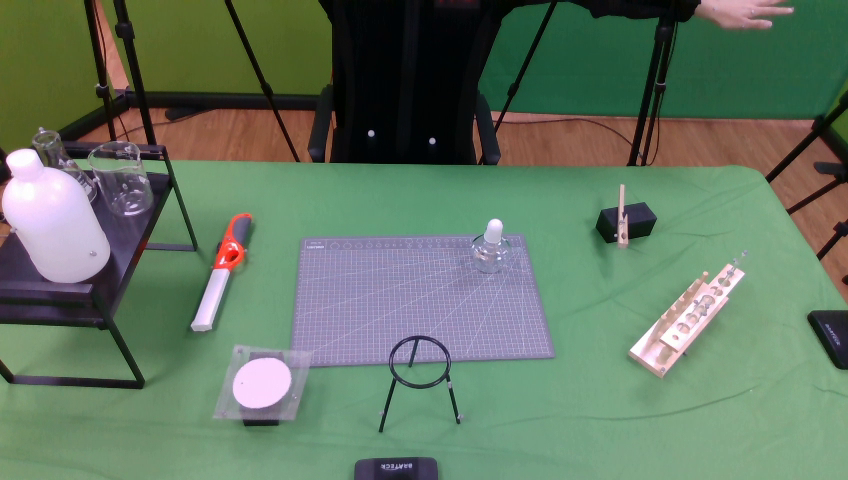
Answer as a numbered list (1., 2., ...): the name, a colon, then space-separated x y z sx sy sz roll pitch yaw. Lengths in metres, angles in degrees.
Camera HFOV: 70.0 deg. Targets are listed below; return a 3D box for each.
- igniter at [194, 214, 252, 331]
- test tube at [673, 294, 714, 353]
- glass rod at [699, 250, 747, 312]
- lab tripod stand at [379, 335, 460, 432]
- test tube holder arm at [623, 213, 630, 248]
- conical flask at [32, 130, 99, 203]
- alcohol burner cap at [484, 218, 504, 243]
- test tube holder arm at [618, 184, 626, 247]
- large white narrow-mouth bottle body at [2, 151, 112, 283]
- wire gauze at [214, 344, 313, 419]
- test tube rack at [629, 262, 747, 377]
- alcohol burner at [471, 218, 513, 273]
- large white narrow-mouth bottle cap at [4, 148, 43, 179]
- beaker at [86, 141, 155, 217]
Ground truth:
1. igniter: -0.367 0.050 1.119 0.057 0.025 0.275 -4 46 7
2. test tube: 0.428 0.137 0.978 0.017 0.151 0.017 4 47 -4
3. glass rod: 0.500 0.075 1.021 0.008 0.201 0.008 0 55 1
4. lab tripod stand: -0.011 0.214 0.911 0.148 0.132 0.147 1 45 0
5. test tube holder arm: 0.392 -0.020 1.179 0.010 0.015 0.087 14 46 0
6. conical flask: -0.565 -0.110 0.944 0.075 0.122 0.075 2 46 -2
7. alcohol burner cap: 0.130 -0.021 1.106 0.034 0.048 0.033 3 51 -4
8. test tube holder arm: 0.395 -0.053 1.210 0.013 0.015 0.177 15 46 0
9. large white narrow-mouth bottle body: -0.507 -0.036 0.825 0.102 0.195 0.101 2 46 -1
10. wire gauze: -0.241 0.213 0.916 0.121 0.011 0.124 5 46 1
11. test tube rack: 0.464 0.126 1.061 0.242 0.085 0.066 -34 56 -31
12. alcohol burner: 0.128 0.005 1.132 0.078 0.120 0.077 0 47 0
13. large white narrow-mouth bottle cap: -0.505 -0.096 0.764 0.038 0.024 0.037 2 46 -1
14. beaker: -0.467 -0.092 0.949 0.084 0.101 0.073 15 47 11
